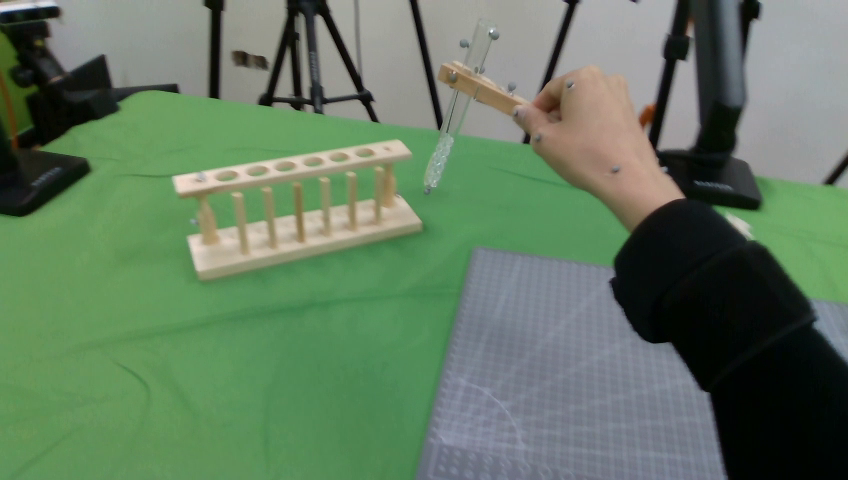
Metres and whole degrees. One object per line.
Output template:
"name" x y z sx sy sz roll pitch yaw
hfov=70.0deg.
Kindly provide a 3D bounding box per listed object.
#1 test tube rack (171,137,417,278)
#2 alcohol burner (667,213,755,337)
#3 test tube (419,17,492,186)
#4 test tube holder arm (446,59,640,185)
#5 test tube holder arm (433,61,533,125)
"test tube rack" -0.130 -0.040 0.646 0.243 0.086 0.066 -14 39 -21
"alcohol burner" 0.265 0.029 0.552 0.078 0.120 0.077 1 34 0
"test tube" 0.023 -0.107 0.495 0.017 0.151 0.017 14 37 -10
"test tube holder arm" 0.084 -0.092 0.457 0.177 0.015 0.013 36 38 22
"test tube holder arm" 0.046 -0.114 0.468 0.087 0.015 0.010 31 36 16
